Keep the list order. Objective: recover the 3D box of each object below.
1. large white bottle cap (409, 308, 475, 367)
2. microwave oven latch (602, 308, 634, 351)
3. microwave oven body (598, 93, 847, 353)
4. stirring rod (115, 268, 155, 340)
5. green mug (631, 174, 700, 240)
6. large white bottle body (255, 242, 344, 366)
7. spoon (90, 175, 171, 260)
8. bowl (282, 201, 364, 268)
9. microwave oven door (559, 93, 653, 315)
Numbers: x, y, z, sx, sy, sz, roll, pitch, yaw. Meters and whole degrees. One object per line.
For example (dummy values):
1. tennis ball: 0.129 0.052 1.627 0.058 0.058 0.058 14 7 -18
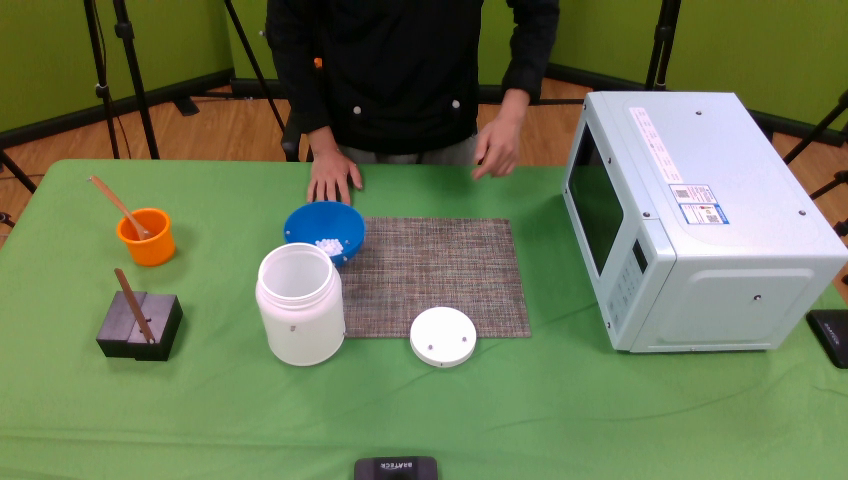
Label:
1. large white bottle cap: 0.031 0.165 1.041 0.115 0.018 0.114 2 46 -2
2. microwave oven latch: 0.332 0.153 1.044 0.030 0.029 0.078 -1 45 -4
3. microwave oven body: 0.475 -0.041 1.110 0.326 0.261 0.438 -1 45 -4
4. stirring rod: -0.479 0.103 0.999 0.014 0.006 0.175 7 32 -49
5. green mug: 0.455 -0.058 1.155 0.125 0.105 0.092 -13 47 -10
6. large white bottle body: -0.196 0.102 0.967 0.131 0.185 0.130 2 49 -2
7. spoon: -0.539 -0.042 1.111 0.021 0.194 0.041 -14 26 51
8. bowl: -0.187 0.005 1.137 0.151 0.077 0.150 3 46 -3
9. microwave oven door: 0.327 -0.074 1.123 0.039 0.245 0.353 -1 46 -5
